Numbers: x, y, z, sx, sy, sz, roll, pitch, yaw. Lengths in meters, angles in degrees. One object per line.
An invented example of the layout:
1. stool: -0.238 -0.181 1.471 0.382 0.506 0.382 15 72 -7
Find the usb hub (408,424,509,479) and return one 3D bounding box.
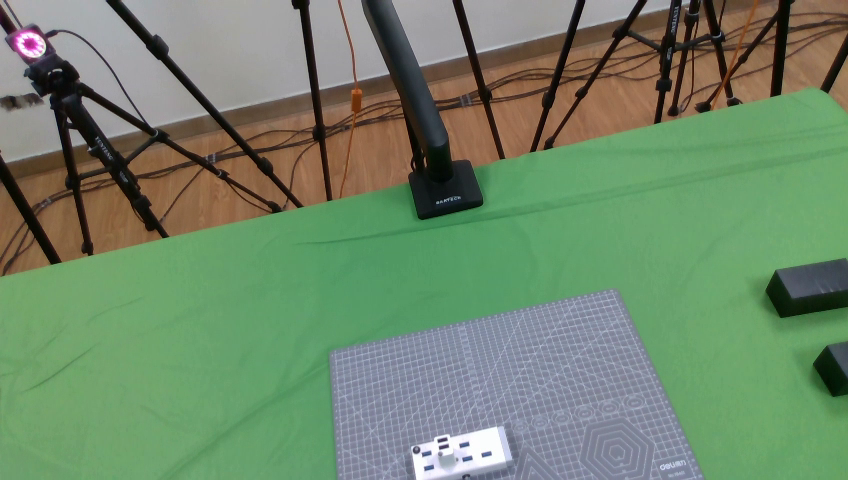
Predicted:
1. usb hub: 0.044 0.277 0.785 0.125 0.025 0.049 -13 50 -1

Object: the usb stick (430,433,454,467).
1. usb stick: 0.024 0.266 0.759 0.021 0.060 0.027 -16 48 -3
